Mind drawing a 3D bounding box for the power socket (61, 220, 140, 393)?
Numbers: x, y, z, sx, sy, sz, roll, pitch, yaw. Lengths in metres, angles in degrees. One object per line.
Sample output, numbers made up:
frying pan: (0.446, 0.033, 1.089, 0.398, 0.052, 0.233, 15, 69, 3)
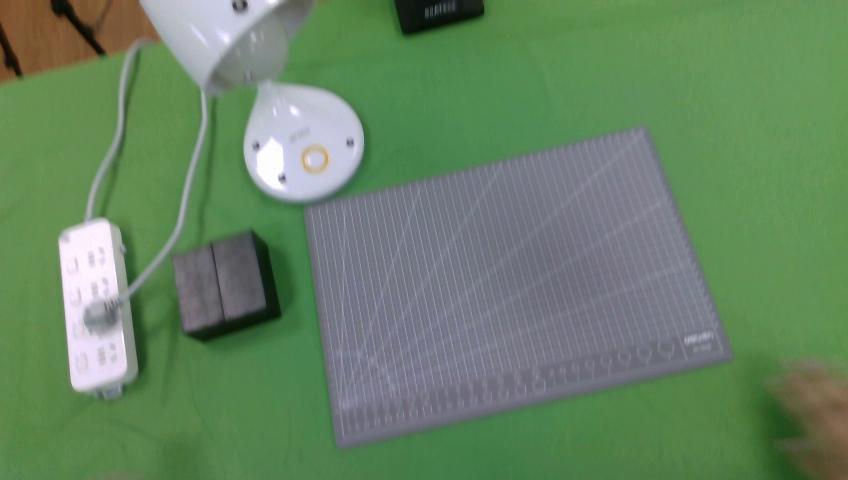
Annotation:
power socket: (-0.403, 0.077, 0.753, 0.072, 0.033, 0.225, -17, 68, -2)

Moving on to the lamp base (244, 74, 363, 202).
lamp base: (-0.177, -0.159, 0.737, 0.160, 0.181, 0.178, -40, 68, -9)

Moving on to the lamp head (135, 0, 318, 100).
lamp head: (-0.156, -0.183, 0.444, 0.112, 0.112, 0.123, -43, 94, -10)

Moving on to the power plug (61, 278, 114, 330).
power plug: (-0.399, 0.076, 0.730, 0.035, 0.053, 0.072, -27, 62, -19)
